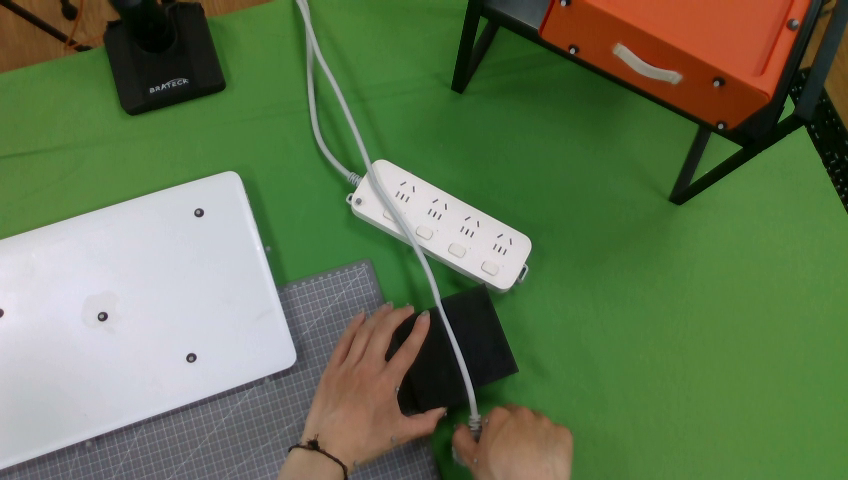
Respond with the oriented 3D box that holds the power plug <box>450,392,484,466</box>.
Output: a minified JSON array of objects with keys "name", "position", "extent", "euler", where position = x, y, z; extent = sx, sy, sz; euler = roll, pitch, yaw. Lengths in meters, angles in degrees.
[{"name":"power plug","position":[0.049,0.204,0.645],"extent":[0.035,0.053,0.072],"euler":[20,67,-13]}]

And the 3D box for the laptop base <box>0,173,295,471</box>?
[{"name":"laptop base","position":[-0.341,0.083,0.655],"extent":[0.355,0.023,0.234],"euler":[-19,82,-8]}]

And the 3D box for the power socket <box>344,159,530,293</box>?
[{"name":"power socket","position":[0.017,-0.016,0.696],"extent":[0.226,0.033,0.072],"euler":[29,76,3]}]

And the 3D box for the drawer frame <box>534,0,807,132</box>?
[{"name":"drawer frame","position":[0.237,-0.241,0.553],"extent":[0.201,0.083,0.213],"euler":[27,76,3]}]

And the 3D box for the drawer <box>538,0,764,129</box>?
[{"name":"drawer","position":[0.238,-0.237,0.553],"extent":[0.194,0.073,0.211],"euler":[27,76,3]}]

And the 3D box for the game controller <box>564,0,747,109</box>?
[{"name":"game controller","position":[0.218,-0.198,0.557],"extent":[0.155,0.052,0.097],"euler":[31,80,6]}]

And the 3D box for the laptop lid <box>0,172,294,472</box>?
[{"name":"laptop lid","position":[-0.340,0.083,0.643],"extent":[0.357,0.013,0.240],"euler":[-17,80,-8]}]
